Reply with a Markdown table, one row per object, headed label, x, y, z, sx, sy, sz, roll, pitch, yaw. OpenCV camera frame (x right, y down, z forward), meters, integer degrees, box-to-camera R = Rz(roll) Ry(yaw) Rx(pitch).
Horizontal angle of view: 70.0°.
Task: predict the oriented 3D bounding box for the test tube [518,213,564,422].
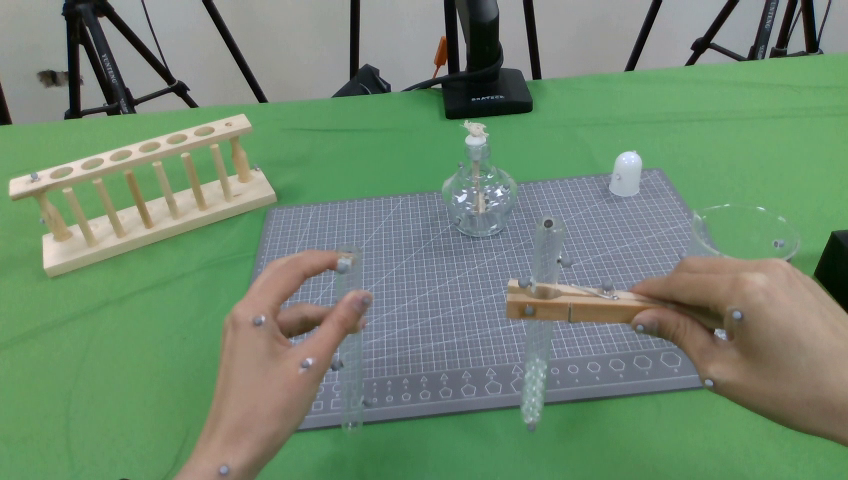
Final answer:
| label | x | y | z | sx | sy | sz | roll | pitch | yaw |
| --- | --- | --- | --- | --- | --- | --- | --- | --- | --- |
| test tube | 0.068 | 0.053 | 0.361 | 0.017 | 0.151 | 0.017 | -1 | 31 | 1 |

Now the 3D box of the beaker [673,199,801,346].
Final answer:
| label | x | y | z | sx | sy | sz | roll | pitch | yaw |
| --- | --- | --- | --- | --- | --- | --- | --- | --- | --- |
| beaker | 0.238 | 0.027 | 0.481 | 0.074 | 0.101 | 0.083 | -25 | 43 | -22 |

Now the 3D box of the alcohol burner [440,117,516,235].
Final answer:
| label | x | y | z | sx | sy | sz | roll | pitch | yaw |
| --- | --- | --- | --- | --- | --- | --- | --- | --- | --- |
| alcohol burner | 0.052 | -0.066 | 0.603 | 0.078 | 0.120 | 0.077 | -4 | 38 | 4 |

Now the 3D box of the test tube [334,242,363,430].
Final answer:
| label | x | y | z | sx | sy | sz | roll | pitch | yaw |
| --- | --- | --- | --- | --- | --- | --- | --- | --- | --- |
| test tube | -0.050 | 0.069 | 0.400 | 0.017 | 0.151 | 0.017 | 2 | 30 | -1 |

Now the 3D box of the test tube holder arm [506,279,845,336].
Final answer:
| label | x | y | z | sx | sy | sz | roll | pitch | yaw |
| --- | --- | --- | --- | --- | --- | --- | --- | --- | --- |
| test tube holder arm | 0.136 | 0.037 | 0.341 | 0.178 | 0.015 | 0.013 | 4 | 39 | 11 |

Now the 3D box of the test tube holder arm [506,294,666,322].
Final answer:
| label | x | y | z | sx | sy | sz | roll | pitch | yaw |
| --- | --- | --- | --- | --- | --- | --- | --- | --- | --- |
| test tube holder arm | 0.090 | 0.039 | 0.344 | 0.088 | 0.015 | 0.010 | 0 | 38 | 6 |

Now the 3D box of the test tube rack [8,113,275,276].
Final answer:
| label | x | y | z | sx | sy | sz | roll | pitch | yaw |
| --- | --- | --- | --- | --- | --- | --- | --- | --- | --- |
| test tube rack | -0.296 | -0.054 | 0.655 | 0.243 | 0.086 | 0.066 | -21 | 42 | -19 |

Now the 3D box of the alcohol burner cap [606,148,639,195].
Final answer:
| label | x | y | z | sx | sy | sz | roll | pitch | yaw |
| --- | --- | --- | --- | --- | --- | --- | --- | --- | --- |
| alcohol burner cap | 0.216 | -0.077 | 0.654 | 0.034 | 0.048 | 0.033 | -3 | 40 | 3 |
